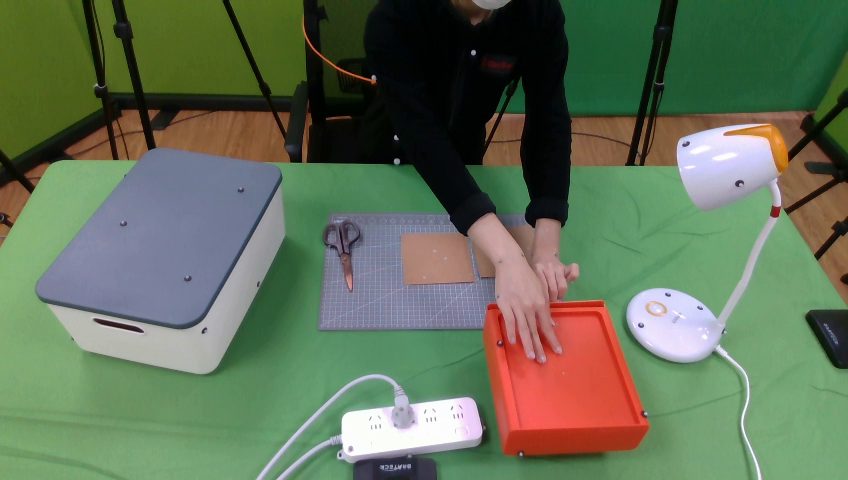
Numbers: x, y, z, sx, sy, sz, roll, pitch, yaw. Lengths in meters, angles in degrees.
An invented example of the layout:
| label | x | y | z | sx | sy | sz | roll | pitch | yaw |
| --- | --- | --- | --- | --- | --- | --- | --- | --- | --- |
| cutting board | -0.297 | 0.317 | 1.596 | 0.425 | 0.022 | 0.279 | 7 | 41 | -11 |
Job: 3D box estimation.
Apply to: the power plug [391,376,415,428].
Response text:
| label | x | y | z | sx | sy | sz | roll | pitch | yaw |
| --- | --- | --- | --- | --- | --- | --- | --- | --- | --- |
| power plug | -0.030 | 0.249 | 0.917 | 0.035 | 0.053 | 0.072 | 3 | 46 | 0 |

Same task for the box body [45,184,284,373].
| label | x | y | z | sx | sy | sz | roll | pitch | yaw |
| --- | --- | --- | --- | --- | --- | --- | --- | --- | --- |
| box body | -0.414 | 0.029 | 1.039 | 0.254 | 0.161 | 0.362 | 10 | 46 | 5 |

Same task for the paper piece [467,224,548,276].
| label | x | y | z | sx | sy | sz | roll | pitch | yaw |
| --- | --- | --- | --- | --- | --- | --- | --- | --- | --- |
| paper piece | 0.163 | 0.019 | 1.199 | 0.136 | 0.009 | 0.137 | -1 | 45 | -10 |

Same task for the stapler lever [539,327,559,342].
| label | x | y | z | sx | sy | sz | roll | pitch | yaw |
| --- | --- | --- | --- | --- | --- | --- | --- | --- | --- |
| stapler lever | 0.225 | 0.173 | 0.937 | 0.118 | 0.040 | 0.027 | 25 | 31 | 16 |

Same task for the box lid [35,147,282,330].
| label | x | y | z | sx | sy | sz | roll | pitch | yaw |
| --- | --- | --- | --- | --- | --- | --- | --- | --- | --- |
| box lid | -0.411 | -0.023 | 0.987 | 0.263 | 0.015 | 0.369 | 10 | 47 | 5 |

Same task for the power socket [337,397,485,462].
| label | x | y | z | sx | sy | sz | roll | pitch | yaw |
| --- | --- | --- | --- | --- | --- | --- | --- | --- | --- |
| power socket | -0.018 | 0.285 | 0.915 | 0.227 | 0.033 | 0.071 | -5 | 46 | -8 |

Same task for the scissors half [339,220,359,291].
| label | x | y | z | sx | sy | sz | roll | pitch | yaw |
| --- | --- | --- | --- | --- | --- | --- | --- | --- | --- |
| scissors half | -0.144 | 0.026 | 1.162 | 0.040 | 0.013 | 0.174 | -7 | 50 | 1 |

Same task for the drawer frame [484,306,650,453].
| label | x | y | z | sx | sy | sz | roll | pitch | yaw |
| --- | --- | --- | --- | --- | --- | --- | --- | --- | --- |
| drawer frame | 0.205 | 0.204 | 0.918 | 0.202 | 0.083 | 0.212 | 0 | 45 | -6 |

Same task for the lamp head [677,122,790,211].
| label | x | y | z | sx | sy | sz | roll | pitch | yaw |
| --- | --- | --- | --- | --- | --- | --- | --- | --- | --- |
| lamp head | 0.423 | -0.104 | 0.819 | 0.122 | 0.113 | 0.112 | -13 | 33 | 40 |

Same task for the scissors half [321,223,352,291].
| label | x | y | z | sx | sy | sz | roll | pitch | yaw |
| --- | --- | --- | --- | --- | --- | --- | --- | --- | --- |
| scissors half | -0.163 | 0.031 | 1.160 | 0.040 | 0.013 | 0.174 | -17 | 51 | -14 |

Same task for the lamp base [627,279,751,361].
| label | x | y | z | sx | sy | sz | roll | pitch | yaw |
| --- | --- | --- | --- | --- | --- | --- | --- | --- | --- |
| lamp base | 0.460 | 0.100 | 1.027 | 0.178 | 0.181 | 0.160 | 27 | 51 | 17 |

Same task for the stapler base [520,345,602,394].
| label | x | y | z | sx | sy | sz | roll | pitch | yaw |
| --- | --- | --- | --- | --- | --- | --- | --- | --- | --- |
| stapler base | 0.217 | 0.195 | 0.949 | 0.130 | 0.024 | 0.041 | 24 | 31 | 16 |

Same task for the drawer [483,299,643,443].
| label | x | y | z | sx | sy | sz | roll | pitch | yaw |
| --- | --- | --- | --- | --- | --- | --- | --- | --- | --- |
| drawer | 0.203 | 0.194 | 0.925 | 0.195 | 0.073 | 0.210 | -1 | 47 | -5 |

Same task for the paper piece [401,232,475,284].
| label | x | y | z | sx | sy | sz | roll | pitch | yaw |
| --- | --- | --- | --- | --- | --- | --- | --- | --- | --- |
| paper piece | 0.025 | 0.032 | 1.175 | 0.135 | 0.004 | 0.135 | 0 | 46 | -5 |
